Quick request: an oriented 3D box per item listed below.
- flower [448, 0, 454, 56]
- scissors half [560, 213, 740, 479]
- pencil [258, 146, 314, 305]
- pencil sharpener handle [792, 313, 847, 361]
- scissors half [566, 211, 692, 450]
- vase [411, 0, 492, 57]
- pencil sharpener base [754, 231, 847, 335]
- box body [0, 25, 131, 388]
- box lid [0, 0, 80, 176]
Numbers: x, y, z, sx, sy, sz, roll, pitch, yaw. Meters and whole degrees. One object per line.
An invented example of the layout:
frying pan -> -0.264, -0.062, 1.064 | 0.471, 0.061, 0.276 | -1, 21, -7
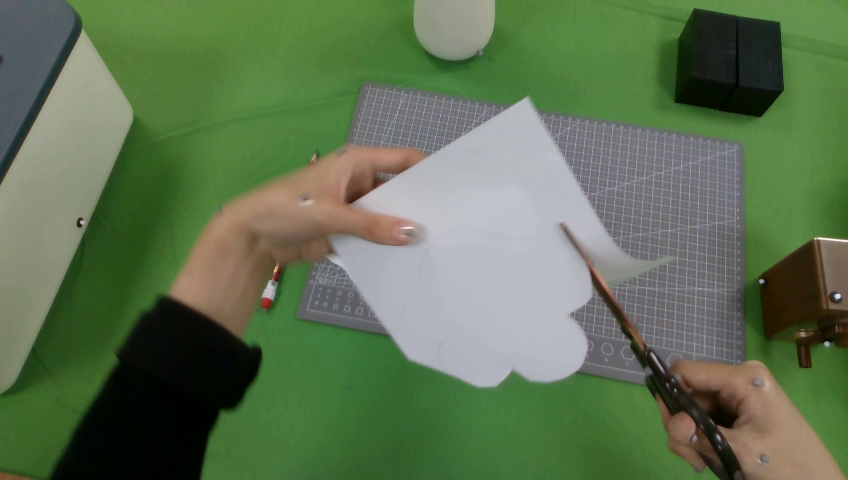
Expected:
flower -> 0.027, -0.343, 0.595 | 0.044, 0.365, 0.038 | 3, 50, 5
scissors half -> 0.125, 0.058, 0.340 | 0.013, 0.040, 0.175 | -32, 85, -4
pencil -> -0.145, -0.021, 0.655 | 0.012, 0.012, 0.193 | 11, 66, 5
pencil sharpener handle -> 0.363, 0.089, 0.547 | 0.036, 0.068, 0.030 | 11, 67, -11
scissors half -> 0.123, 0.056, 0.361 | 0.013, 0.039, 0.176 | -31, 108, 1
vase -> 0.031, -0.298, 0.667 | 0.098, 0.201, 0.097 | 0, 66, 1
pencil sharpener base -> 0.372, 0.048, 0.577 | 0.061, 0.108, 0.076 | 6, 68, 2
box body -> -0.480, -0.053, 0.581 | 0.254, 0.161, 0.361 | 10, 68, 4
box lid -> -0.480, -0.084, 0.513 | 0.263, 0.015, 0.369 | 10, 68, 3
